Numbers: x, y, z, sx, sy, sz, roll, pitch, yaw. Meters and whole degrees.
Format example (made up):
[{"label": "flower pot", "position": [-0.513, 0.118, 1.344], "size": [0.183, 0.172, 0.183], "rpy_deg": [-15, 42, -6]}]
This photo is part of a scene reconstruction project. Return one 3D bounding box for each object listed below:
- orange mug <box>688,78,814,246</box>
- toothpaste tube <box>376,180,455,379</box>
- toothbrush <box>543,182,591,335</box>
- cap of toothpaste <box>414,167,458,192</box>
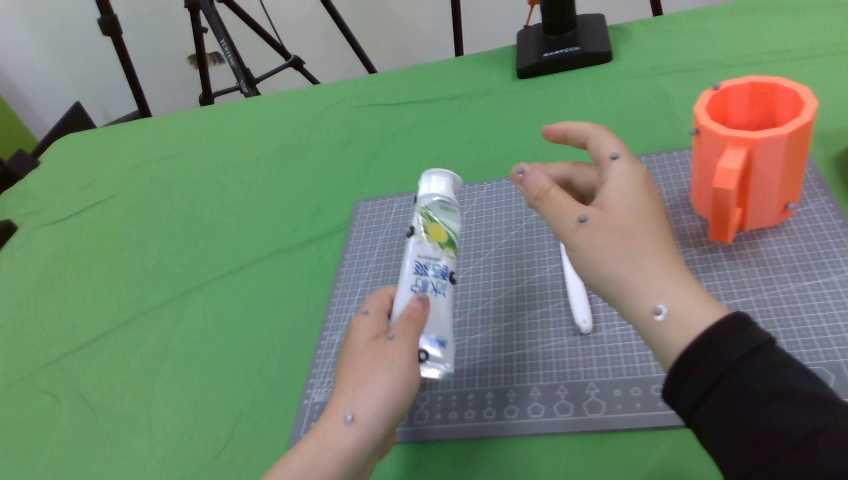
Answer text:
[{"label": "orange mug", "position": [0.256, -0.059, 0.492], "size": [0.083, 0.102, 0.126], "rpy_deg": [15, 48, 34]}, {"label": "toothpaste tube", "position": [0.000, 0.021, 0.461], "size": [0.055, 0.035, 0.164], "rpy_deg": [7, 63, -2]}, {"label": "toothbrush", "position": [0.125, 0.009, 0.535], "size": [0.014, 0.017, 0.180], "rpy_deg": [-3, 44, 2]}, {"label": "cap of toothpaste", "position": [0.010, -0.047, 0.495], "size": [0.037, 0.038, 0.011], "rpy_deg": [-1, 62, 21]}]
